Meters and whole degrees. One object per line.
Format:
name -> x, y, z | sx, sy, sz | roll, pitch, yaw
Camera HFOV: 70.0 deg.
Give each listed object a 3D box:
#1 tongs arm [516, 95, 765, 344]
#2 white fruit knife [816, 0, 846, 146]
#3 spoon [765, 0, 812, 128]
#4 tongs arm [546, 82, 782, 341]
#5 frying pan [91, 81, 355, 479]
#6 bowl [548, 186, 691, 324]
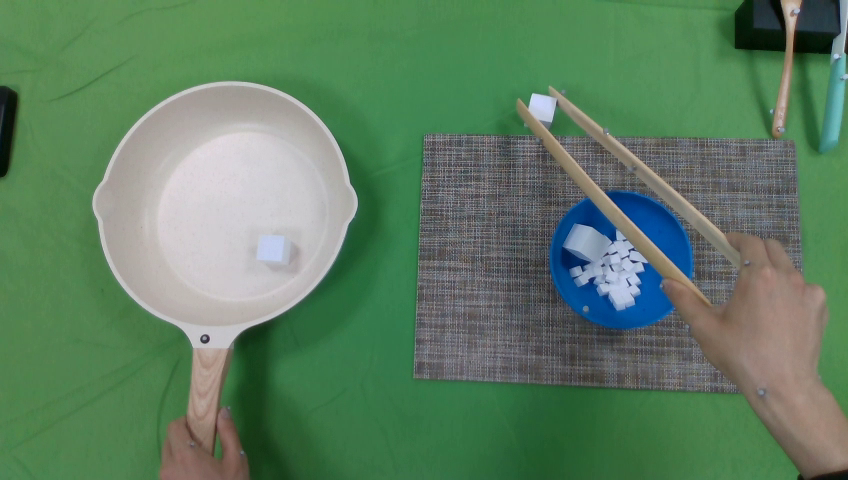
tongs arm -> 0.185, -0.043, 0.602 | 0.028, 0.028, 0.383 | -23, 47, -8
white fruit knife -> 0.480, -0.215, 0.708 | 0.016, 0.027, 0.207 | 2, 95, -1
spoon -> 0.425, -0.230, 0.708 | 0.041, 0.022, 0.194 | 12, 102, 23
tongs arm -> 0.209, -0.055, 0.604 | 0.051, 0.027, 0.380 | -27, 48, -7
frying pan -> -0.233, 0.059, 0.688 | 0.307, 0.103, 0.485 | 1, 72, 4
bowl -> 0.210, 0.021, 0.681 | 0.151, 0.077, 0.151 | 0, 80, 3
